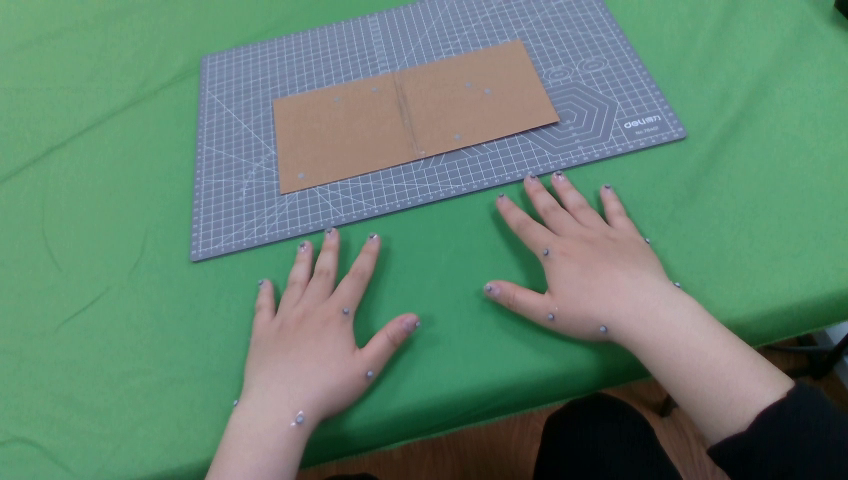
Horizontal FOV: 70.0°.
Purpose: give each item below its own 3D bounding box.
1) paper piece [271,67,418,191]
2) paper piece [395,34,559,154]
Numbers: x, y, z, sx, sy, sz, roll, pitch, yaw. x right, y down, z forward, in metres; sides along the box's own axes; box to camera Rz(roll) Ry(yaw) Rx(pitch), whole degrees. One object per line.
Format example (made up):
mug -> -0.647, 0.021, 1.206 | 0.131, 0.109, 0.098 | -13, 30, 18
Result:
paper piece -> -0.083, -0.115, 0.598 | 0.138, 0.009, 0.134 | -14, 51, 2
paper piece -> 0.047, -0.148, 0.596 | 0.135, 0.004, 0.134 | -15, 53, 2
